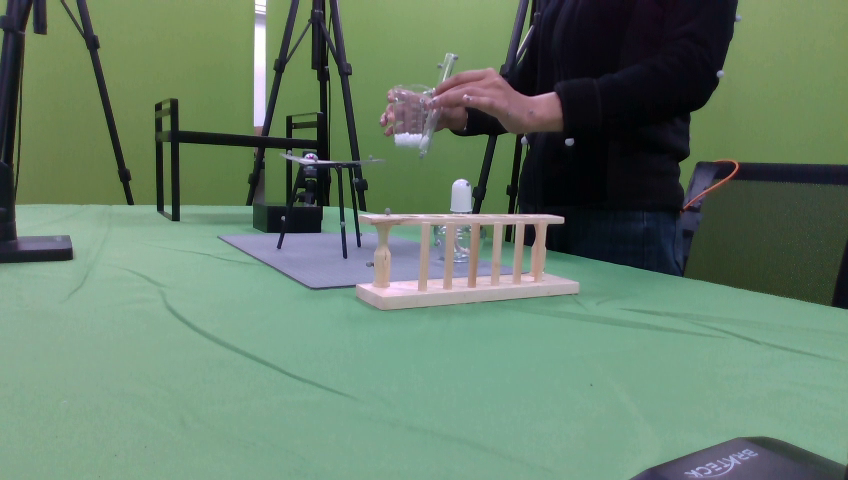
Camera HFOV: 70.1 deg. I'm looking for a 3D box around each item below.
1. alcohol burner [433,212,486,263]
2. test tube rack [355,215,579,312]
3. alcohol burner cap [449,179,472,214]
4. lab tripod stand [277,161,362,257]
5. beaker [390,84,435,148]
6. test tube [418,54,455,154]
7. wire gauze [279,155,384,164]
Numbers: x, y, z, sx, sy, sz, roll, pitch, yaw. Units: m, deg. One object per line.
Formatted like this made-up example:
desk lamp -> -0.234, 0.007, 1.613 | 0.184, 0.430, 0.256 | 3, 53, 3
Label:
alcohol burner -> 0.051, -0.028, 0.862 | 0.078, 0.119, 0.078 | 1, 6, 0
test tube rack -> 0.053, 0.018, 0.641 | 0.243, 0.085, 0.066 | -1, 8, -29
alcohol burner cap -> 0.052, -0.063, 0.858 | 0.034, 0.048, 0.034 | 2, 13, 0
lab tripod stand -> -0.143, -0.049, 0.884 | 0.148, 0.131, 0.148 | 2, 9, 0
beaker -> -0.017, -0.212, 1.042 | 0.083, 0.100, 0.074 | 2, 5, 34
test tube -> 0.018, -0.196, 0.871 | 0.017, 0.150, 0.017 | 16, -3, 1
wire gauze -> -0.134, -0.114, 0.875 | 0.122, 0.011, 0.124 | -1, 8, -30
